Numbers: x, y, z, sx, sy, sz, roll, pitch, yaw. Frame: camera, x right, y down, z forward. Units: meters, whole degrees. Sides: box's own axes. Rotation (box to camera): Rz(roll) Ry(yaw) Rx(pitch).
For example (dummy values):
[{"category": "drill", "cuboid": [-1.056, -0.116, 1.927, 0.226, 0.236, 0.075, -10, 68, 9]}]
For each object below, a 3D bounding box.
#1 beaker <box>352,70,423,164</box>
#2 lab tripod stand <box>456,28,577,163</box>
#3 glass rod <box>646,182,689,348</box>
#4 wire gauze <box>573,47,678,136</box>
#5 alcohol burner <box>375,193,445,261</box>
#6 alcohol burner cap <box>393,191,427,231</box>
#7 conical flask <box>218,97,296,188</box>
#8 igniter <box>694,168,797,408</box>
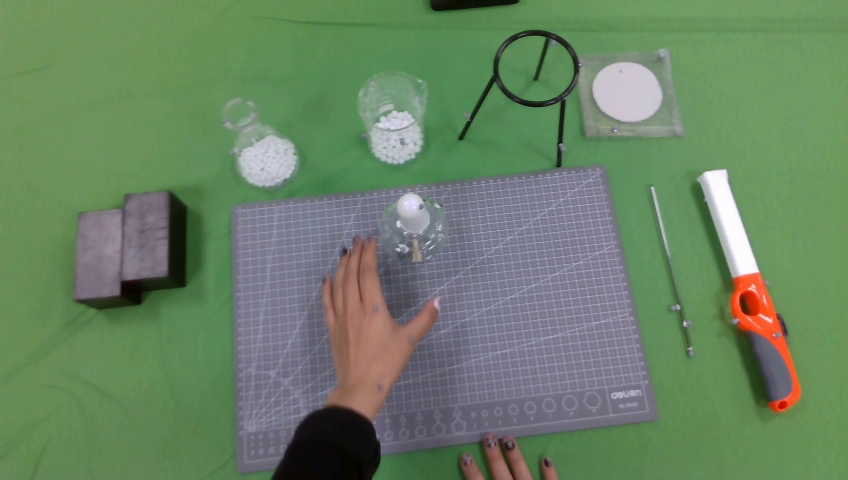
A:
[{"category": "beaker", "cuboid": [-0.037, -0.139, 0.699, 0.084, 0.101, 0.073, -32, 76, -10]}, {"category": "lab tripod stand", "cuboid": [0.110, -0.161, 0.688, 0.148, 0.132, 0.147, 0, 75, 1]}, {"category": "glass rod", "cuboid": [0.281, 0.025, 0.700, 0.008, 0.008, 0.198, -6, 74, -2]}, {"category": "wire gauze", "cuboid": [0.251, -0.186, 0.761, 0.125, 0.011, 0.121, -2, 75, -2]}, {"category": "alcohol burner", "cuboid": [-0.015, -0.020, 0.654, 0.078, 0.120, 0.077, 0, 72, -1]}, {"category": "alcohol burner cap", "cuboid": [-0.015, -0.032, 0.620, 0.034, 0.048, 0.033, -2, 69, 5]}, {"category": "conical flask", "cuboid": [-0.192, -0.113, 0.679, 0.075, 0.122, 0.075, 0, 73, 0]}, {"category": "igniter", "cuboid": [0.361, 0.048, 0.683, 0.057, 0.025, 0.275, -7, 74, -13]}]
